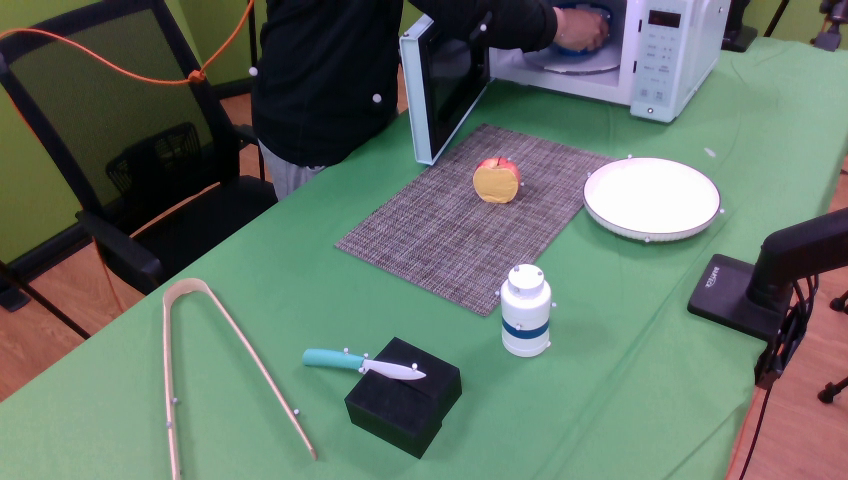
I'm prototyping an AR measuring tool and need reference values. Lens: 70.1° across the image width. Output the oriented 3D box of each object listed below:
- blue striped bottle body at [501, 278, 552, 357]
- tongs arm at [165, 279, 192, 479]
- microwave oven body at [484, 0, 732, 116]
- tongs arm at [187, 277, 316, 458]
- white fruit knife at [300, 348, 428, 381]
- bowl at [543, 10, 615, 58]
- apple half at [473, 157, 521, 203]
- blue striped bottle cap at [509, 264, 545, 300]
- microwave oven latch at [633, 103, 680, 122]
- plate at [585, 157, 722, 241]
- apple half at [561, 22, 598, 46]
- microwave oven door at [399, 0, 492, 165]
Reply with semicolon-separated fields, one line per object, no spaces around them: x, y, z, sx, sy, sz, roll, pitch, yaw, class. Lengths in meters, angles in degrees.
0.129;0.089;0.769;0.063;0.121;0.063;-4;40;4;blue striped bottle body
-0.313;0.182;0.789;0.051;0.026;0.381;-19;41;-13;tongs arm
0.377;-0.463;1.267;0.438;0.261;0.327;21;49;30;microwave oven body
-0.240;0.154;0.815;0.028;0.028;0.384;-32;45;-21;tongs arm
-0.079;0.154;0.748;0.206;0.027;0.016;1;20;34;white fruit knife
0.336;-0.444;1.315;0.151;0.077;0.151;-7;29;4;bowl
0.127;-0.106;1.030;0.080;0.075;0.053;4;36;19;apple half
0.125;0.051;0.735;0.044;0.021;0.044;-6;39;5;blue striped bottle cap
0.443;-0.249;1.158;0.078;0.029;0.030;21;49;30;microwave oven latch
0.367;-0.063;0.979;0.207;0.039;0.206;-4;41;4;plate
0.331;-0.449;1.303;0.081;0.033;0.081;-13;38;11;apple half
0.054;-0.343;1.167;0.039;0.245;0.356;11;44;21;microwave oven door
